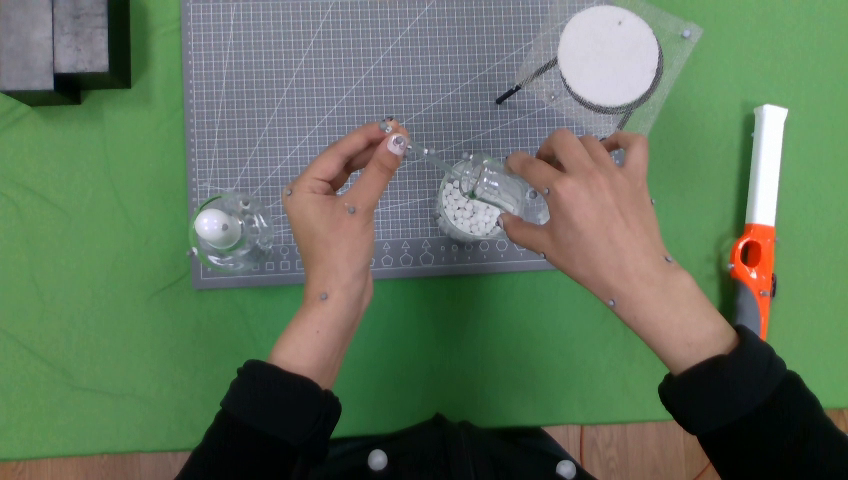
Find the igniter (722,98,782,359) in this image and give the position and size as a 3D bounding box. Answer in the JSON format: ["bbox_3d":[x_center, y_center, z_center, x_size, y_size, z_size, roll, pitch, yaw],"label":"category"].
[{"bbox_3d":[0.347,-0.011,0.640,0.057,0.025,0.276,8,88,-14],"label":"igniter"}]

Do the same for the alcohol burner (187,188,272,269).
[{"bbox_3d":[-0.183,-0.011,0.557,0.078,0.119,0.078,0,89,-2],"label":"alcohol burner"}]

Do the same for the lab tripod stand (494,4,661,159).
[{"bbox_3d":[0.149,-0.151,0.576,0.148,0.131,0.148,0,89,-2],"label":"lab tripod stand"}]

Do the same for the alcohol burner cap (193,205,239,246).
[{"bbox_3d":[-0.181,-0.015,0.522,0.034,0.048,0.033,1,81,-5],"label":"alcohol burner cap"}]

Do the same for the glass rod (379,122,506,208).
[{"bbox_3d":[0.024,-0.056,0.497,0.008,0.201,0.008,-9,71,31],"label":"glass rod"}]

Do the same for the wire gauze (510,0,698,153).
[{"bbox_3d":[0.151,-0.156,0.509,0.125,0.011,0.121,29,88,-2],"label":"wire gauze"}]

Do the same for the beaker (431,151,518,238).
[{"bbox_3d":[0.046,-0.037,0.582,0.074,0.100,0.084,-39,91,-4],"label":"beaker"}]

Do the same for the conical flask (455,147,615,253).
[{"bbox_3d":[0.086,-0.038,0.489,0.123,0.075,0.075,16,86,-24],"label":"conical flask"}]
